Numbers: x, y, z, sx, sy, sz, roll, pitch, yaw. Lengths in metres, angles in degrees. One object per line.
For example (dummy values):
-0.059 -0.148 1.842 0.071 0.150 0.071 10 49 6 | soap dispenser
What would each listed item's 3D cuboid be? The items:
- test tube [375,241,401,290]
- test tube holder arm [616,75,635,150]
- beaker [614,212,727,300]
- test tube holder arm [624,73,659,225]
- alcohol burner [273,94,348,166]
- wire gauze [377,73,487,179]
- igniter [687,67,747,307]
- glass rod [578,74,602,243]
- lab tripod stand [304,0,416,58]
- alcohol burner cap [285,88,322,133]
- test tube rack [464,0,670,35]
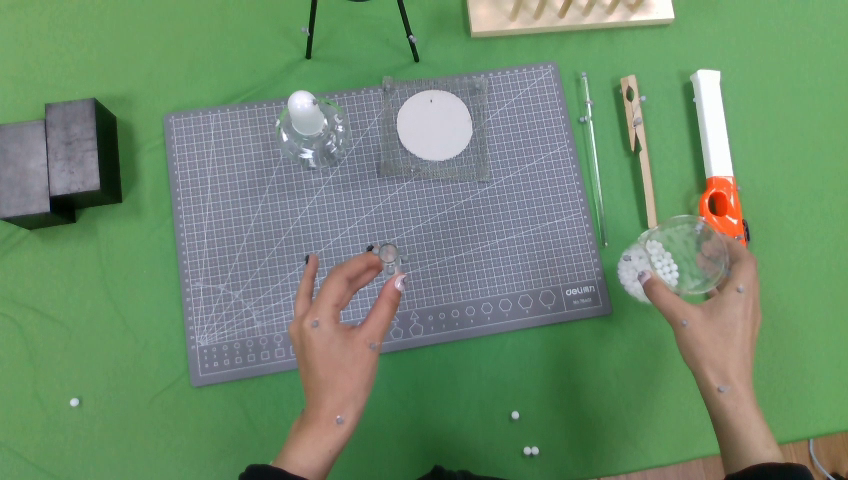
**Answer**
-0.028 0.024 0.511 0.017 0.151 0.017 0 77 -1 | test tube
0.235 -0.147 0.699 0.010 0.015 0.087 -13 79 30 | test tube holder arm
0.234 0.019 0.599 0.084 0.100 0.073 19 77 2 | beaker
0.246 -0.104 0.689 0.013 0.015 0.177 -14 79 30 | test tube holder arm
-0.119 -0.120 0.621 0.078 0.119 0.077 0 80 -1 | alcohol burner
0.010 -0.131 0.685 0.125 0.011 0.121 2 81 -4 | wire gauze
0.329 -0.063 0.683 0.057 0.025 0.275 0 79 -14 | igniter
0.189 -0.095 0.690 0.008 0.008 0.199 -4 82 -4 | glass rod
-0.071 -0.258 0.642 0.148 0.132 0.148 0 81 -3 | lab tripod stand
-0.118 -0.128 0.586 0.034 0.048 0.033 1 73 -2 | alcohol burner cap
0.170 -0.293 0.686 0.242 0.085 0.066 -5 80 -4 | test tube rack
